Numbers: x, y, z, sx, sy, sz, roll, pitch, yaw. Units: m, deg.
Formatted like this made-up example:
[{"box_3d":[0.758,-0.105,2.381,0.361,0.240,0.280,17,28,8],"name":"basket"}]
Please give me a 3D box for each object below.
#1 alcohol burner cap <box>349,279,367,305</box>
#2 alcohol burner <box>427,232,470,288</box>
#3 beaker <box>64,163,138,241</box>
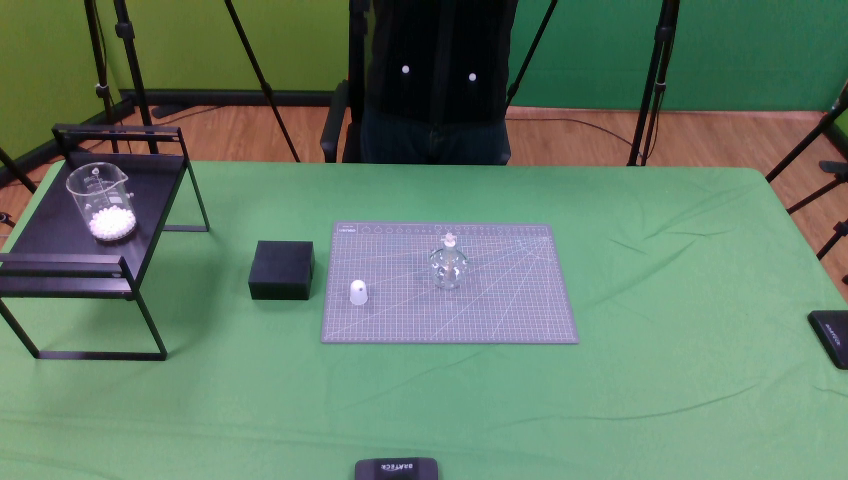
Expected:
[{"box_3d":[-0.118,0.090,1.082,0.034,0.048,0.033,1,47,-1],"name":"alcohol burner cap"},{"box_3d":[0.045,0.032,1.099,0.078,0.120,0.077,0,46,0],"name":"alcohol burner"},{"box_3d":[-0.477,-0.055,0.910,0.084,0.101,0.073,-9,48,-13],"name":"beaker"}]
